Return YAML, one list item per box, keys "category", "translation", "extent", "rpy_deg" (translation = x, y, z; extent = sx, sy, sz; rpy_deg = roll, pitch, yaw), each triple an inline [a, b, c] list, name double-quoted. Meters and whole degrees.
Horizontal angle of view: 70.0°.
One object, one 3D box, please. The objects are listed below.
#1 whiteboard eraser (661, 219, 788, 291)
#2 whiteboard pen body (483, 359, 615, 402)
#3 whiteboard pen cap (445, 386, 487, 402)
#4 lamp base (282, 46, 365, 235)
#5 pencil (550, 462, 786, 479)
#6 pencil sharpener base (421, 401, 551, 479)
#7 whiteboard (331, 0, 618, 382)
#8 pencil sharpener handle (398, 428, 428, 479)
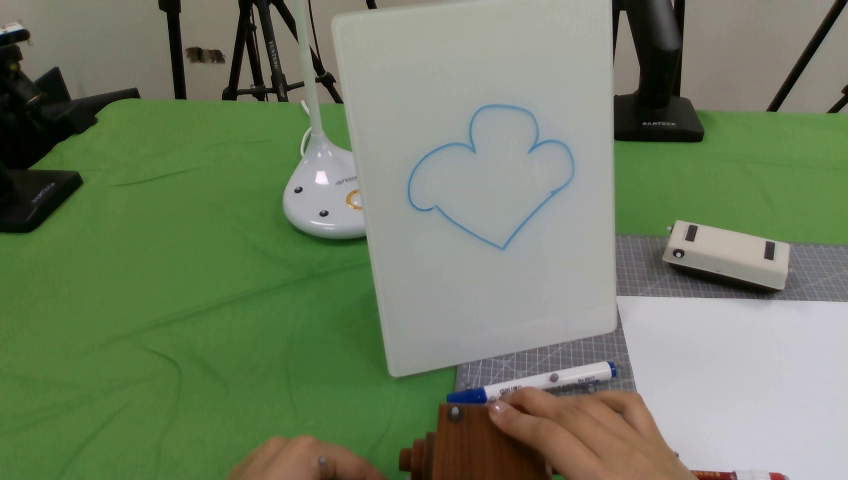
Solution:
- category: "whiteboard eraser"
  translation: [0.302, 0.016, 0.612]
  extent: [0.112, 0.042, 0.055]
  rpy_deg: [16, 43, 22]
- category: "whiteboard pen body"
  translation: [0.093, 0.120, 0.507]
  extent: [0.141, 0.017, 0.017]
  rpy_deg: [-10, 39, -7]
- category: "whiteboard pen cap"
  translation: [0.035, 0.131, 0.498]
  extent: [0.033, 0.018, 0.018]
  rpy_deg: [-11, 39, -6]
- category: "lamp base"
  translation: [-0.105, -0.122, 0.703]
  extent: [0.161, 0.182, 0.177]
  rpy_deg: [-29, 43, -29]
- category: "pencil"
  translation: [0.120, 0.142, 0.372]
  extent: [0.194, 0.012, 0.012]
  rpy_deg: [1, 39, 4]
- category: "pencil sharpener base"
  translation: [0.039, 0.161, 0.398]
  extent: [0.076, 0.108, 0.061]
  rpy_deg: [1, 39, 6]
- category: "whiteboard"
  translation: [0.045, -0.058, 0.559]
  extent: [0.217, 0.307, 0.142]
  rpy_deg: [-10, 20, -8]
- category: "pencil sharpener handle"
  translation: [-0.013, 0.152, 0.392]
  extent: [0.030, 0.068, 0.035]
  rpy_deg: [1, 27, 6]
